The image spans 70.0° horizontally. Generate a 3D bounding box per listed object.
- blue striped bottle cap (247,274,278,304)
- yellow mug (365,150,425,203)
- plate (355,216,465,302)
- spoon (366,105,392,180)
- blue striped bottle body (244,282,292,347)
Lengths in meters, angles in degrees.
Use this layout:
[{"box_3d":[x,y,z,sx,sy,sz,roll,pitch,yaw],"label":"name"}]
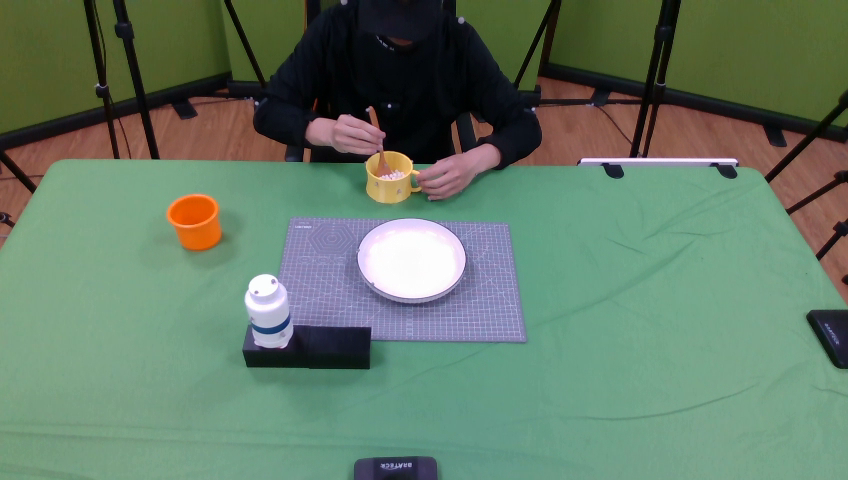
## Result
[{"box_3d":[-0.239,0.072,0.900,0.044,0.021,0.044,4,46,-4],"label":"blue striped bottle cap"},{"box_3d":[-0.061,-0.133,1.291,0.131,0.064,0.099,9,47,3],"label":"yellow mug"},{"box_3d":[-0.027,0.039,1.144,0.208,0.039,0.206,2,46,-2],"label":"plate"},{"box_3d":[-0.094,-0.189,1.251,0.041,0.195,0.021,-31,47,-25],"label":"spoon"},{"box_3d":[-0.241,0.108,0.937,0.063,0.121,0.062,2,46,-2],"label":"blue striped bottle body"}]
